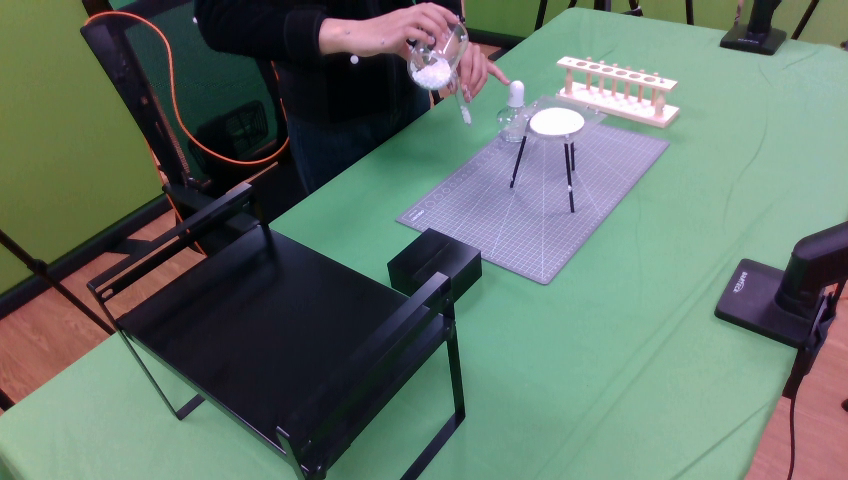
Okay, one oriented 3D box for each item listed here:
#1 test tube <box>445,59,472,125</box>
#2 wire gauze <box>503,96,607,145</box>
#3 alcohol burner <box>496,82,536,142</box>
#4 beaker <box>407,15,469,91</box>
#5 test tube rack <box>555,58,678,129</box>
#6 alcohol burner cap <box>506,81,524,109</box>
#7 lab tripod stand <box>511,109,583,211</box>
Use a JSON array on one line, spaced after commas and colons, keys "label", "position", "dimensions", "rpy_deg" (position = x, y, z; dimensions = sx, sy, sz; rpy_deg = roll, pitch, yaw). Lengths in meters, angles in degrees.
[{"label": "test tube", "position": [0.060, -0.249, 1.034], "dimensions": [0.017, 0.151, 0.017], "rpy_deg": [-8, 58, 14]}, {"label": "wire gauze", "position": [0.211, -0.192, 0.975], "dimensions": [0.120, 0.011, 0.125], "rpy_deg": [24, 49, 32]}, {"label": "alcohol burner", "position": [0.178, -0.250, 1.168], "dimensions": [0.078, 0.119, 0.077], "rpy_deg": [-5, 42, 5]}, {"label": "beaker", "position": [0.020, -0.278, 0.916], "dimensions": [0.073, 0.084, 0.100], "rpy_deg": [7, 49, 18]}, {"label": "test tube rack", "position": [0.390, -0.307, 1.229], "dimensions": [0.240, 0.085, 0.067], "rpy_deg": [26, 50, 33]}, {"label": "alcohol burner cap", "position": [0.173, -0.277, 1.145], "dimensions": [0.034, 0.048, 0.033], "rpy_deg": [1, 41, -1]}, {"label": "lab tripod stand", "position": [0.220, -0.138, 1.014], "dimensions": [0.148, 0.132, 0.147], "rpy_deg": [-3, 41, 3]}]
